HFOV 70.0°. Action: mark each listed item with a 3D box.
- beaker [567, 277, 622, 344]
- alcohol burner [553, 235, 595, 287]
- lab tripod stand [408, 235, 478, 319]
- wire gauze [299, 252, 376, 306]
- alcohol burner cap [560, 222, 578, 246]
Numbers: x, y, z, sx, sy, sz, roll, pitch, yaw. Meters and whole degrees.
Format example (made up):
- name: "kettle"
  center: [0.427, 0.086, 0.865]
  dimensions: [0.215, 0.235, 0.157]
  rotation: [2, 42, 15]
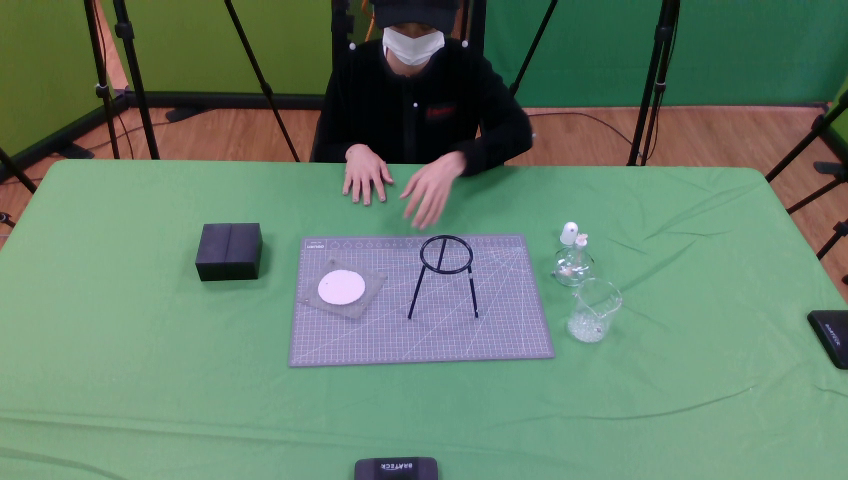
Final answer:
- name: "beaker"
  center: [0.291, 0.127, 1.045]
  dimensions: [0.074, 0.101, 0.083]
  rotation: [7, 46, 4]
- name: "alcohol burner"
  center: [0.282, 0.032, 1.127]
  dimensions: [0.078, 0.120, 0.077]
  rotation: [1, 48, -1]
- name: "lab tripod stand"
  center: [0.032, 0.065, 1.057]
  dimensions: [0.148, 0.132, 0.147]
  rotation: [1, 45, -1]
- name: "wire gauze"
  center: [-0.155, 0.069, 1.104]
  dimensions: [0.125, 0.011, 0.120]
  rotation: [0, 48, 4]
- name: "alcohol burner cap"
  center: [0.295, -0.015, 1.223]
  dimensions: [0.034, 0.048, 0.033]
  rotation: [2, 47, -2]
